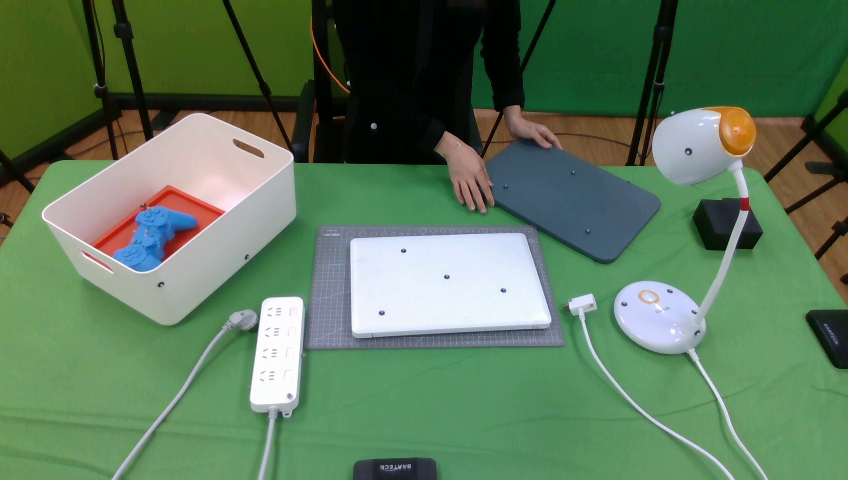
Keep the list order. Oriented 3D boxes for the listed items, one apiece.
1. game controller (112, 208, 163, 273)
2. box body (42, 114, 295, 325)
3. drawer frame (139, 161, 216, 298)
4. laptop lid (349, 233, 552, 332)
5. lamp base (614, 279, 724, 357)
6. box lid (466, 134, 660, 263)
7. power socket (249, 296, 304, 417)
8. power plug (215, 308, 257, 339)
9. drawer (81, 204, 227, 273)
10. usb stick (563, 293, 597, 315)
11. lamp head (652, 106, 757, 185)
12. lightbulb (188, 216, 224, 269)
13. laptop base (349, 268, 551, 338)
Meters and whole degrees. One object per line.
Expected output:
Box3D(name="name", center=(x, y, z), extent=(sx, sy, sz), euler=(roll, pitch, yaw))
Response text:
Box3D(name="game controller", center=(-0.463, 0.001, 1.040), extent=(0.097, 0.052, 0.154), euler=(4, 46, 4))
Box3D(name="box body", center=(-0.437, -0.046, 1.110), extent=(0.253, 0.161, 0.363), euler=(24, 49, 19))
Box3D(name="drawer frame", center=(-0.435, -0.026, 1.063), extent=(0.083, 0.214, 0.201), euler=(-9, 13, -30))
Box3D(name="laptop lid", center=(0.040, 0.070, 1.119), extent=(0.357, 0.013, 0.240), euler=(-1, 44, -5))
Box3D(name="lamp base", center=(0.436, 0.090, 1.034), extent=(0.161, 0.181, 0.178), euler=(-23, 55, -23))
Box3D(name="box lid", center=(0.305, -0.103, 1.328), extent=(0.370, 0.015, 0.263), euler=(32, 52, 24))
Box3D(name="power socket", center=(-0.239, 0.182, 0.996), extent=(0.072, 0.033, 0.225), euler=(-2, 47, -5))
Box3D(name="power plug", center=(-0.317, 0.143, 1.024), extent=(0.072, 0.053, 0.035), euler=(-32, 58, -8))
Box3D(name="drawer", center=(-0.456, 0.009, 1.088), extent=(0.194, 0.073, 0.211), euler=(25, 43, 17))
Box3D(name="usb stick", center=(0.280, 0.118, 1.093), extent=(0.059, 0.021, 0.027), euler=(-18, 35, 25))
Box3D(name="lamp head", center=(0.410, -0.139, 0.869), extent=(0.113, 0.122, 0.112), euler=(0, 89, -19))
Box3D(name="lightbulb", center=(-0.405, 0.006, 1.112), extent=(0.059, 0.060, 0.107), euler=(7, 58, 2))
Box3D(name="laptop base", center=(0.039, 0.080, 1.125), extent=(0.355, 0.023, 0.234), euler=(-2, 43, -6))
